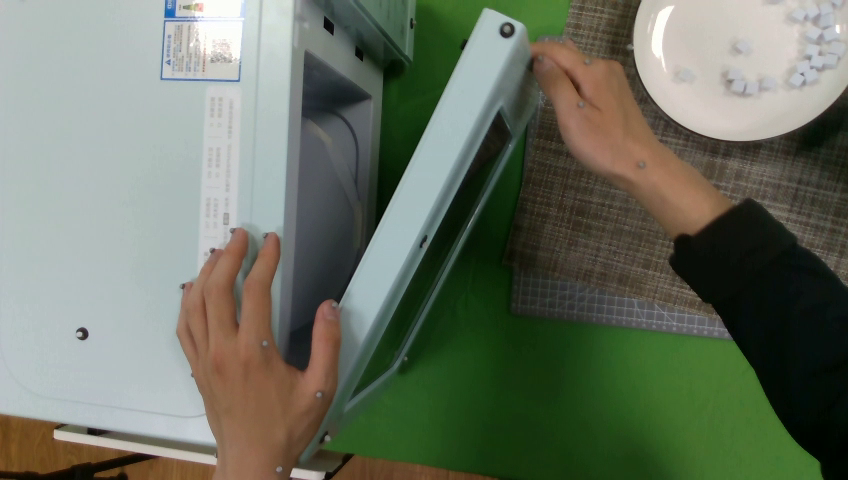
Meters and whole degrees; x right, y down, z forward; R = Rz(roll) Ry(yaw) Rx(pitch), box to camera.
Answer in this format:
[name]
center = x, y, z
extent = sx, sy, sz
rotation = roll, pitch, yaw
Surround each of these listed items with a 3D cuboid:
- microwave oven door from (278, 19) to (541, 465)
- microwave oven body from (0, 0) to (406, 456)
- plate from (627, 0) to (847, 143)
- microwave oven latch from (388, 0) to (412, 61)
[microwave oven door]
center = 0.002, 0.006, 0.544
extent = 0.039, 0.244, 0.356
rotation = 28, 97, 11
[microwave oven body]
center = -0.204, -0.064, 0.591
extent = 0.325, 0.260, 0.442
rotation = 4, 93, 12
[plate]
center = 0.305, -0.196, 0.589
extent = 0.208, 0.038, 0.209
rotation = 0, 91, 12
[microwave oven latch]
center = -0.029, -0.234, 0.646
extent = 0.030, 0.029, 0.079
rotation = 5, 94, 12
